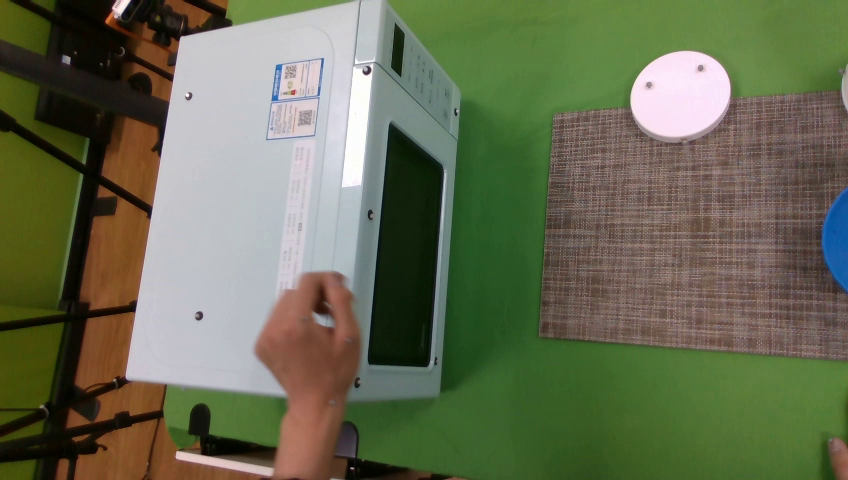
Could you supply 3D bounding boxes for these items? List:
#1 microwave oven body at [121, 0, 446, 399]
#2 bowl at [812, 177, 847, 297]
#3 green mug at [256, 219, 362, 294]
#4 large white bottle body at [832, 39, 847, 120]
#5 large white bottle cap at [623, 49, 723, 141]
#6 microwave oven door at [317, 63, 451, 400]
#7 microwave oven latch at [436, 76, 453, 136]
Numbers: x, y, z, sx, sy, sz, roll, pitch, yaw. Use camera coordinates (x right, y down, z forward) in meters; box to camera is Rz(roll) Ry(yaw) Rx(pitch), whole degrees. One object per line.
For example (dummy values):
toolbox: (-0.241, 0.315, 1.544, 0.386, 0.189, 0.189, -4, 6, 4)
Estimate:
microwave oven body: (-0.164, -0.032, 0.794, 0.324, 0.262, 0.440, 0, 79, 24)
bowl: (0.468, 0.004, 0.601, 0.151, 0.077, 0.150, -6, 77, 24)
green mug: (-0.143, 0.018, 0.799, 0.125, 0.106, 0.092, -13, 74, 17)
large white bottle body: (0.481, -0.192, 0.577, 0.130, 0.186, 0.130, -7, 72, 22)
large white bottle cap: (0.306, -0.179, 0.748, 0.114, 0.018, 0.114, -6, 76, 23)
microwave oven door: (-0.036, 0.007, 0.722, 0.039, 0.246, 0.354, -1, 78, 25)
microwave oven latch: (0.024, -0.187, 0.850, 0.030, 0.030, 0.079, -1, 79, 24)
